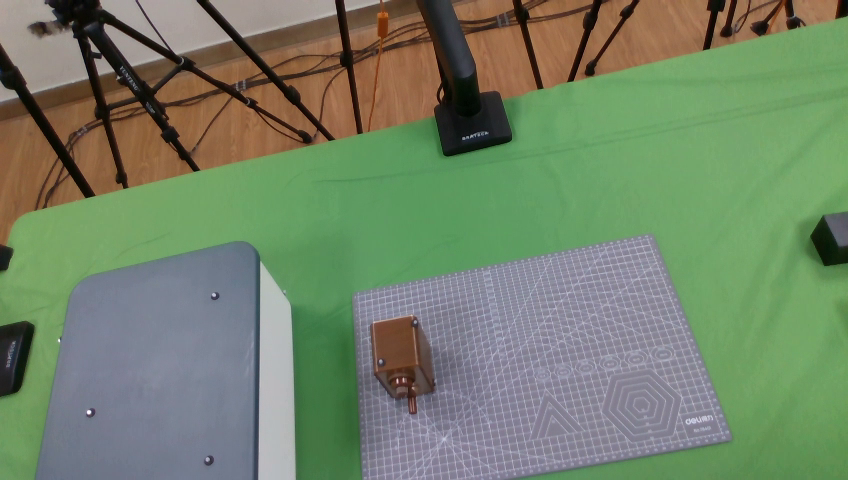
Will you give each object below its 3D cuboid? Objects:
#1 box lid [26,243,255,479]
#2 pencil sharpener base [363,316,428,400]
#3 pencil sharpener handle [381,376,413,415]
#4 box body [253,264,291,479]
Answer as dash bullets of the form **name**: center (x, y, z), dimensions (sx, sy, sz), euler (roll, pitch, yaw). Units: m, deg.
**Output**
- **box lid**: center (-0.326, 0.176, 0.712), dimensions (0.263, 0.015, 0.367), euler (-13, 57, 3)
- **pencil sharpener base**: center (-0.034, 0.157, 0.782), dimensions (0.061, 0.108, 0.076), euler (-11, 57, 4)
- **pencil sharpener handle**: center (-0.028, 0.192, 0.744), dimensions (0.036, 0.068, 0.030), euler (-16, 57, 12)
- **box body**: center (-0.313, 0.217, 0.773), dimensions (0.254, 0.162, 0.360), euler (-13, 57, 3)
